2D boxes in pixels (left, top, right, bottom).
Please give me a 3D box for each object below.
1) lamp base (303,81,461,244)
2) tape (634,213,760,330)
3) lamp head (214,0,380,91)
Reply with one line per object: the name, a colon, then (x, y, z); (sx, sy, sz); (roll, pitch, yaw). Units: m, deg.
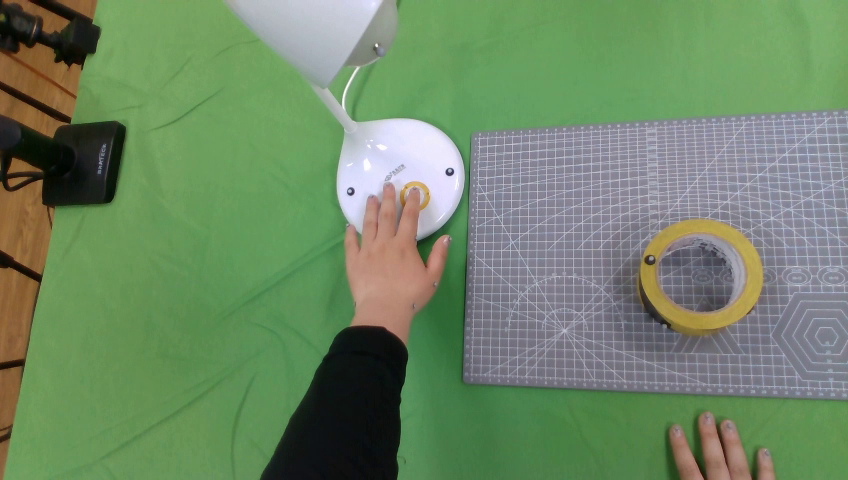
lamp base: (-0.062, -0.099, 0.666); (0.178, 0.182, 0.160); (40, 88, 23)
tape: (0.271, 0.033, 0.610); (0.116, 0.053, 0.116); (-3, 75, 13)
lamp head: (-0.087, -0.171, 0.376); (0.123, 0.112, 0.112); (29, 83, -14)
